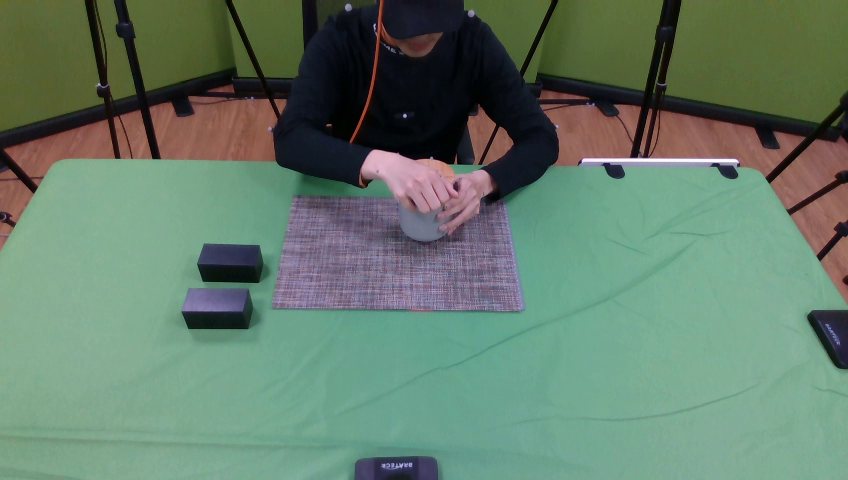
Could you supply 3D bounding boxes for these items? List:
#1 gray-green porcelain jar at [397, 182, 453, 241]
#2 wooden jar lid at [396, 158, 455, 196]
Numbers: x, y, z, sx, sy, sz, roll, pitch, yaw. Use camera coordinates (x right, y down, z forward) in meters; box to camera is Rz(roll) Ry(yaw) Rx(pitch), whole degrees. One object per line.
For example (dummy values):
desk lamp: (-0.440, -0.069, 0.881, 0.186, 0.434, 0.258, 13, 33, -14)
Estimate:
gray-green porcelain jar: (0.003, -0.070, 1.163, 0.106, 0.127, 0.105, 0, 47, 1)
wooden jar lid: (0.002, -0.114, 1.117, 0.108, 0.021, 0.107, 0, 42, 0)
